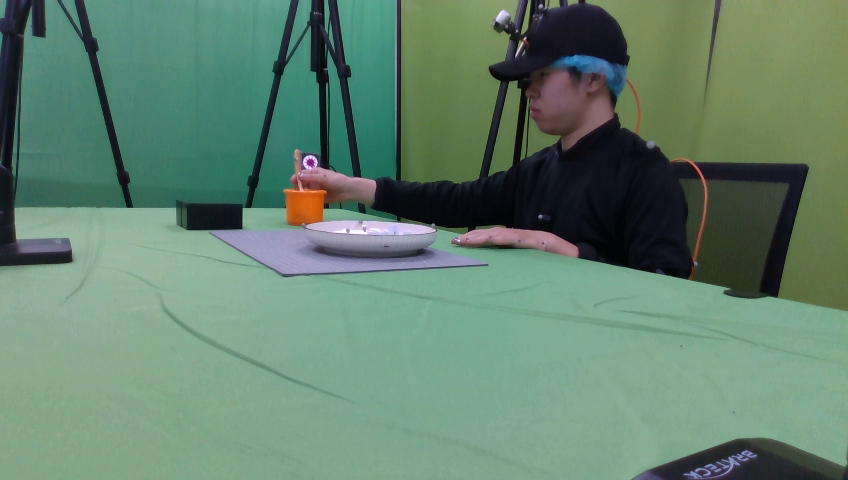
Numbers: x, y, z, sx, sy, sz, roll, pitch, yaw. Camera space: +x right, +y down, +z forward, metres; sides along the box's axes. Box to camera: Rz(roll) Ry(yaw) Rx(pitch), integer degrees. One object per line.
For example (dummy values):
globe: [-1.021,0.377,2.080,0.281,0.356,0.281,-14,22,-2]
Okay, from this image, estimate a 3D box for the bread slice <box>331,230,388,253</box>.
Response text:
bread slice: [-0.088,0.000,0.947,0.105,0.019,0.131,-4,11,-45]

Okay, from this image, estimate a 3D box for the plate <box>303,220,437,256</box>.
plate: [-0.084,-0.003,0.951,0.209,0.038,0.209,3,7,0]

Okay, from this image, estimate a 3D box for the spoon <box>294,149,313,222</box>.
spoon: [-0.271,-0.123,1.320,0.042,0.193,0.021,3,-37,-27]
